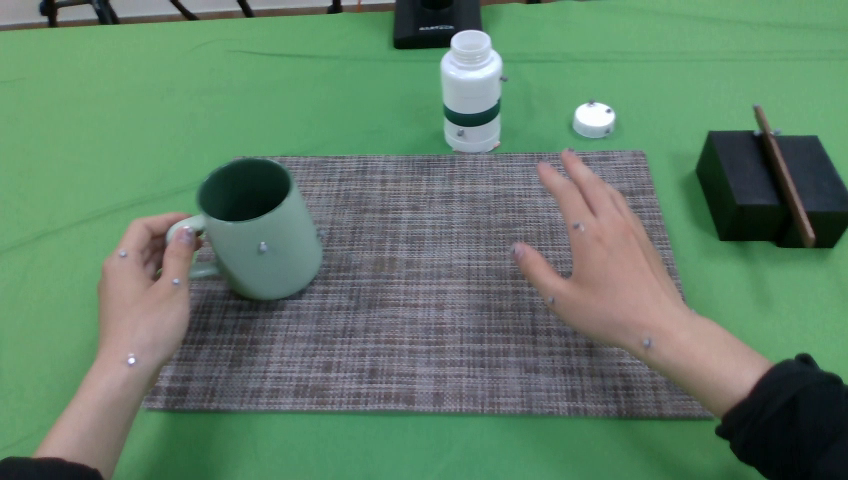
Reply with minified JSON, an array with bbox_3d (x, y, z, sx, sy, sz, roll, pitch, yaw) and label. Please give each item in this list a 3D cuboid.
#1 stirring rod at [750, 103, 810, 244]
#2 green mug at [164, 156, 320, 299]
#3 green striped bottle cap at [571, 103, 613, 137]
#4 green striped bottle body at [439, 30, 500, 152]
[{"bbox_3d":[0.318,-0.066,0.545,0.006,0.014,0.174,0,50,10],"label":"stirring rod"},{"bbox_3d":[-0.159,-0.003,0.528,0.125,0.106,0.091,-21,52,-13],"label":"green mug"},{"bbox_3d":[0.188,-0.135,0.678,0.044,0.020,0.044,-1,46,1],"label":"green striped bottle cap"},{"bbox_3d":[0.048,-0.157,0.639,0.063,0.120,0.062,-2,49,3],"label":"green striped bottle body"}]
